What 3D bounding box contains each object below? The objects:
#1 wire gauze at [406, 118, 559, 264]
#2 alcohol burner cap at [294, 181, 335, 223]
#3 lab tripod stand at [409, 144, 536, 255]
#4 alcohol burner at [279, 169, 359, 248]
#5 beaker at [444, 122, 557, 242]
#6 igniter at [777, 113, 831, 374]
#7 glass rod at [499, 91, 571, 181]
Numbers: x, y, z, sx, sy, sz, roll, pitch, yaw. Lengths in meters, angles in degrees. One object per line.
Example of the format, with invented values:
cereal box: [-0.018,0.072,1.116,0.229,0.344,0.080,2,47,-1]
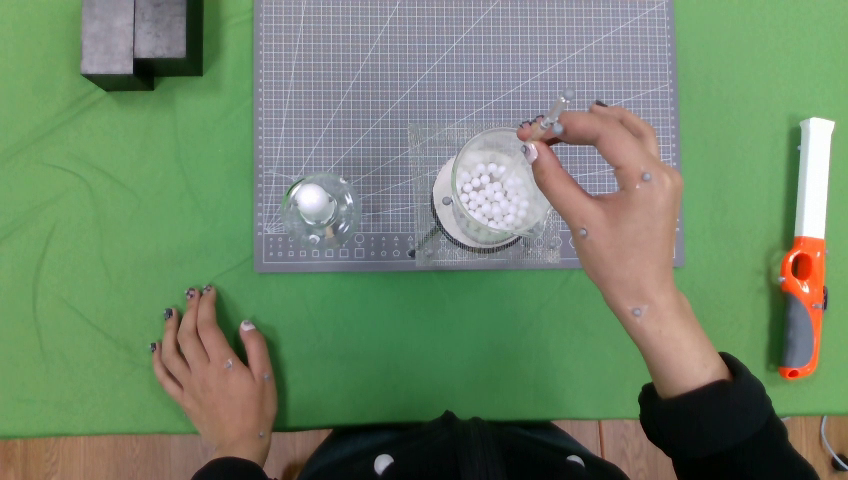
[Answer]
wire gauze: [0.049,-0.042,0.505,0.125,0.011,0.121,-2,84,0]
alcohol burner cap: [-0.099,-0.035,0.538,0.034,0.048,0.033,0,82,0]
lab tripod stand: [0.046,-0.033,0.570,0.148,0.131,0.148,0,85,0]
alcohol burner: [-0.101,-0.033,0.574,0.078,0.119,0.077,0,83,-3]
beaker: [0.054,-0.035,0.457,0.074,0.100,0.084,-33,86,-5]
igniter: [0.403,0.003,0.640,0.057,0.025,0.276,8,86,-13]
glass rod: [0.069,-0.062,0.406,0.008,0.200,0.008,0,84,-2]
